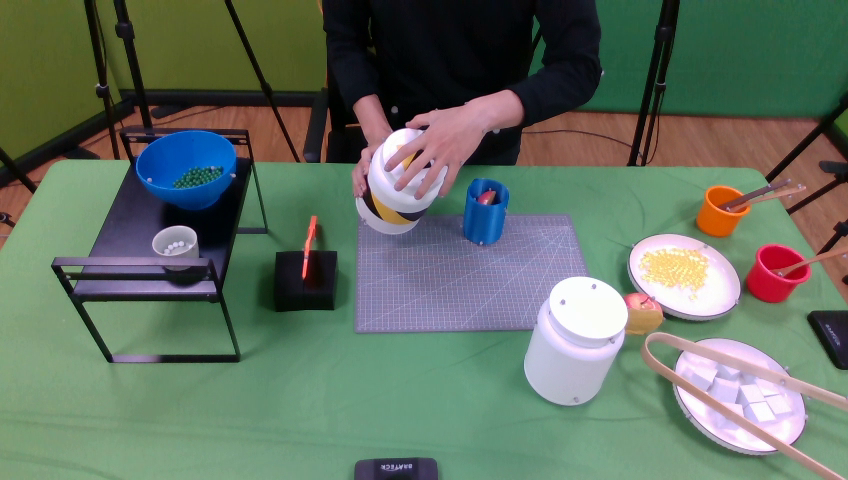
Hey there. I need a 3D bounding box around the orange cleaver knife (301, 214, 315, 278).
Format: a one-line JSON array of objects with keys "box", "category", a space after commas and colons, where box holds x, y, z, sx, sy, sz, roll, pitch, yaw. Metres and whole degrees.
[{"box": [-0.217, 0.007, 1.131, 0.012, 0.077, 0.210, 7, 19, -9], "category": "orange cleaver knife"}]

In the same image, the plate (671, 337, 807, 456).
[{"box": [0.504, 0.254, 0.984, 0.208, 0.039, 0.206, 2, 46, -2], "category": "plate"}]

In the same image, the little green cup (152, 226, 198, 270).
[{"box": [-0.364, 0.013, 0.894, 0.061, 0.039, 0.061, 3, 47, -3], "category": "little green cup"}]

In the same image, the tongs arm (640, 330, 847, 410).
[{"box": [0.543, 0.225, 0.969, 0.384, 0.026, 0.050, 22, 52, 13], "category": "tongs arm"}]

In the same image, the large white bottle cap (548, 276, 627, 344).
[{"box": [0.240, 0.100, 0.890, 0.115, 0.018, 0.114, 3, 47, -3], "category": "large white bottle cap"}]

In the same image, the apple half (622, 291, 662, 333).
[{"box": [0.372, 0.123, 1.074, 0.081, 0.075, 0.053, 0, 43, 1], "category": "apple half"}]

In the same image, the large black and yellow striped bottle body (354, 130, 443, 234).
[{"box": [-0.043, -0.103, 1.079, 0.131, 0.184, 0.130, 8, 65, -17], "category": "large black and yellow striped bottle body"}]

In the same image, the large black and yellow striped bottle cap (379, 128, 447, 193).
[{"box": [-0.017, -0.133, 1.006, 0.115, 0.019, 0.114, 8, 65, -17], "category": "large black and yellow striped bottle cap"}]

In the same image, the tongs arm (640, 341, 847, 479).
[{"box": [0.500, 0.277, 0.920, 0.386, 0.028, 0.028, 34, 59, 22], "category": "tongs arm"}]

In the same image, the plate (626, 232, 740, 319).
[{"box": [0.488, 0.071, 1.157, 0.209, 0.038, 0.208, 3, 46, -3], "category": "plate"}]

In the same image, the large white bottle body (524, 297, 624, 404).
[{"box": [0.235, 0.159, 0.952, 0.131, 0.185, 0.130, 2, 47, -2], "category": "large white bottle body"}]

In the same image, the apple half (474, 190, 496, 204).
[{"box": [0.109, -0.067, 1.200, 0.032, 0.081, 0.081, 29, 51, 13], "category": "apple half"}]

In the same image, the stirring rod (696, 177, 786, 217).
[{"box": [0.648, -0.087, 1.244, 0.176, 0.006, 0.014, -25, 50, 29], "category": "stirring rod"}]

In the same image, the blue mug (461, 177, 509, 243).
[{"box": [0.114, -0.069, 1.211, 0.082, 0.106, 0.115, -12, 48, -15], "category": "blue mug"}]

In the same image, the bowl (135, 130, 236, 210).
[{"box": [-0.375, -0.102, 0.978, 0.151, 0.077, 0.150, 3, 46, -2], "category": "bowl"}]

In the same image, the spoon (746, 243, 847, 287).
[{"box": [0.702, 0.044, 1.126, 0.194, 0.022, 0.041, -29, 38, 30], "category": "spoon"}]

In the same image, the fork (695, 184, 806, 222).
[{"box": [0.658, -0.074, 1.229, 0.207, 0.019, 0.028, -23, 34, 36], "category": "fork"}]
